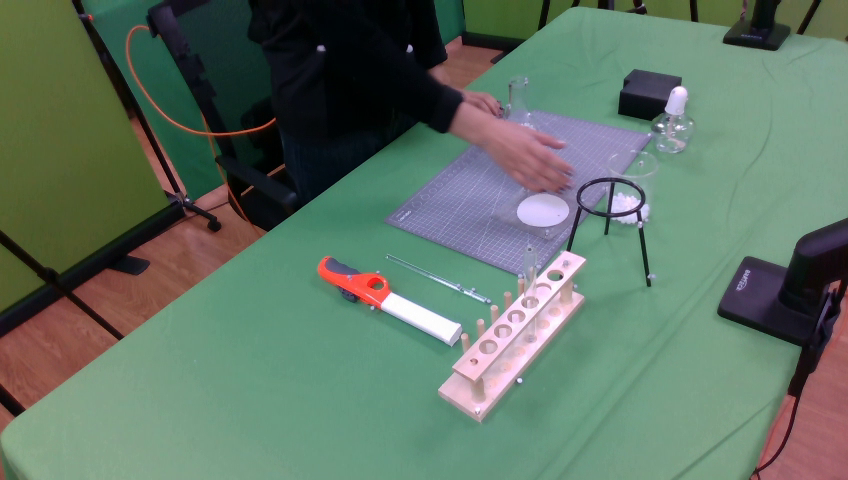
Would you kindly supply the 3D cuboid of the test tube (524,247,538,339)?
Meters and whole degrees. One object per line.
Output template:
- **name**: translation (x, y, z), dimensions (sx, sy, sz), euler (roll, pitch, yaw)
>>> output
- **test tube**: translation (0.133, 0.070, 0.749), dimensions (0.017, 0.151, 0.017), euler (-5, 38, 4)

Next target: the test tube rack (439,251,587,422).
- **test tube rack**: translation (0.118, 0.111, 0.780), dimensions (0.066, 0.085, 0.243), euler (26, 51, 34)

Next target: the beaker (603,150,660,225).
- **beaker**: translation (0.324, -0.080, 0.957), dimensions (0.083, 0.101, 0.074), euler (7, 42, 20)

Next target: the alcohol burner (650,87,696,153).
- **alcohol burner**: translation (0.448, -0.217, 1.084), dimensions (0.078, 0.119, 0.077), euler (-6, 38, 5)

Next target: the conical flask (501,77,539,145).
- **conical flask**: translation (0.183, -0.250, 1.163), dimensions (0.075, 0.122, 0.075), euler (-6, 40, 5)

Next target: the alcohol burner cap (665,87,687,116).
- **alcohol burner cap**: translation (0.445, -0.244, 1.060), dimensions (0.034, 0.048, 0.033), euler (-2, 45, 3)

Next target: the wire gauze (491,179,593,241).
- **wire gauze**: translation (0.198, -0.051, 1.014), dimensions (0.120, 0.011, 0.125), euler (29, 56, 37)

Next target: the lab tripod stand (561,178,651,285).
- **lab tripod stand**: translation (0.263, -0.014, 0.864), dimensions (0.148, 0.132, 0.147), euler (-7, 38, 6)

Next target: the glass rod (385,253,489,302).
- **glass rod**: translation (0.016, 0.055, 0.926), dimensions (0.198, 0.008, 0.008), euler (23, 50, 32)

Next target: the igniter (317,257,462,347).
- **igniter**: translation (-0.061, 0.086, 0.891), dimensions (0.274, 0.025, 0.057), euler (23, 59, 33)
